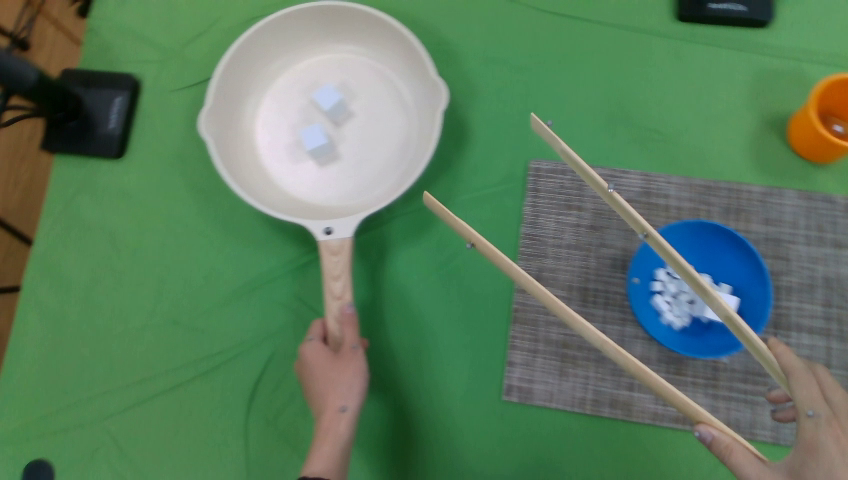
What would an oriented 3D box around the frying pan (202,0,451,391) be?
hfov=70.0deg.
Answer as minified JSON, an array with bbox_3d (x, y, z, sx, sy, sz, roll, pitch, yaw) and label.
[{"bbox_3d":[-0.109,-0.065,0.729,0.307,0.103,0.484,-6,70,4],"label":"frying pan"}]

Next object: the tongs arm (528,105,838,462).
[{"bbox_3d":[0.197,0.016,0.526,0.051,0.027,0.381,-33,64,-12],"label":"tongs arm"}]

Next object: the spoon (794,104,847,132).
[{"bbox_3d":[0.510,-0.126,0.673,0.041,0.192,0.022,-45,122,-7],"label":"spoon"}]

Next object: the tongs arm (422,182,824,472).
[{"bbox_3d":[0.138,0.060,0.511,0.384,0.028,0.028,39,68,23],"label":"tongs arm"}]

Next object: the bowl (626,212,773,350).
[{"bbox_3d":[0.298,0.050,0.685,0.151,0.077,0.150,-1,79,4],"label":"bowl"}]
